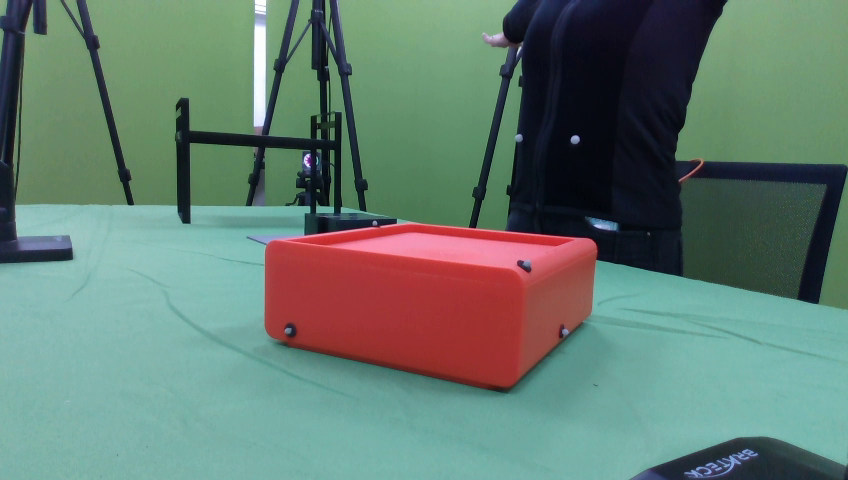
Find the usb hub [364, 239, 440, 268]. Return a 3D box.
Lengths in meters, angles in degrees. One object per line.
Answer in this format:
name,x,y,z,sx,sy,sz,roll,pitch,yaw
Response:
usb hub,-0.028,0.017,0.829,0.049,0.025,0.126,5,7,29

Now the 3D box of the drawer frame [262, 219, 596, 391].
drawer frame,0.017,0.036,0.495,0.201,0.082,0.214,6,9,26

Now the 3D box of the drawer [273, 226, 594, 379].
drawer,0.019,0.038,0.498,0.194,0.073,0.212,7,9,27
